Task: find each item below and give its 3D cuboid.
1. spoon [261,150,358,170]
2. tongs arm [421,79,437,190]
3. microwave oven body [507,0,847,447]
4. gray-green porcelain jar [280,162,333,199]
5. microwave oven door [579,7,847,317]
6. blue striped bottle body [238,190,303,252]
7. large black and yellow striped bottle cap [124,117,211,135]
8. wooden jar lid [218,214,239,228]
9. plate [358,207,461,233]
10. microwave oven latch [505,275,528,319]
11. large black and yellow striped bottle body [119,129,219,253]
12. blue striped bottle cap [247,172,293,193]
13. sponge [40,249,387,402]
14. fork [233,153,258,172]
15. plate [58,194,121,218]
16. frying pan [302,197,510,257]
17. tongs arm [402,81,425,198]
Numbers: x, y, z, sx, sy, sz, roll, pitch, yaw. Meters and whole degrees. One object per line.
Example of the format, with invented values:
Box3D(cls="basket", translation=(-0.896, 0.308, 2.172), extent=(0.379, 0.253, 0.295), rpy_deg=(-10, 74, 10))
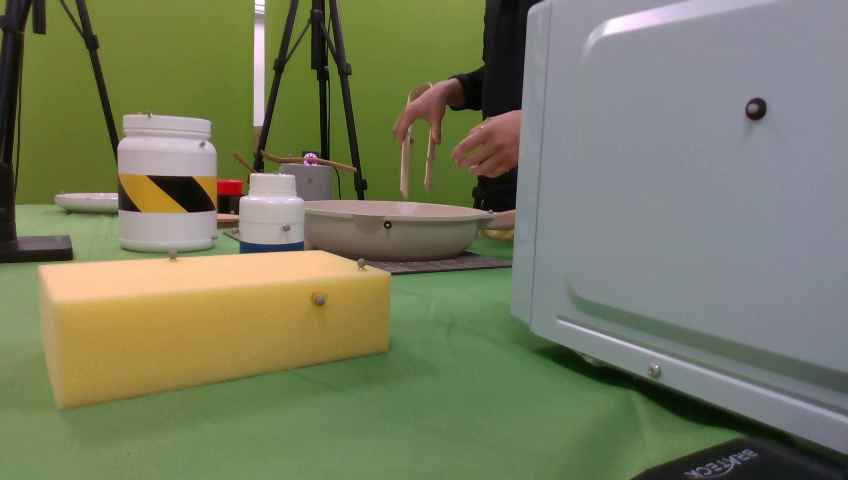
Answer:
Box3D(cls="spoon", translation=(-0.229, -0.161, 1.222), extent=(0.194, 0.021, 0.041), rpy_deg=(4, 4, -16))
Box3D(cls="tongs arm", translation=(0.004, -0.235, 1.285), extent=(0.050, 0.026, 0.384), rpy_deg=(-18, 41, 23))
Box3D(cls="microwave oven body", translation=(0.331, -0.042, 0.425), extent=(0.444, 0.260, 0.324), rpy_deg=(-2, 8, -31))
Box3D(cls="gray-green porcelain jar", translation=(-0.238, -0.092, 1.221), extent=(0.106, 0.126, 0.106), rpy_deg=(2, 7, 0))
Box3D(cls="microwave oven door", translation=(0.294, -0.067, 0.570), extent=(0.358, 0.243, 0.039), rpy_deg=(-3, 9, -31))
Box3D(cls="blue striped bottle body", translation=(-0.153, -0.007, 0.606), extent=(0.063, 0.120, 0.063), rpy_deg=(2, 8, 0))
Box3D(cls="large black and yellow striped bottle cap", translation=(-0.366, -0.163, 0.866), extent=(0.115, 0.019, 0.115), rpy_deg=(3, 7, 0))
Box3D(cls="wooden jar lid", translation=(-0.404, -0.037, 1.169), extent=(0.108, 0.020, 0.108), rpy_deg=(3, 7, 0))
Box3D(cls="plate", translation=(-0.030, -0.041, 1.213), extent=(0.208, 0.039, 0.207), rpy_deg=(3, 6, 0))
Box3D(cls="microwave oven latch", translation=(0.100, 0.041, 0.471), extent=(0.079, 0.029, 0.030), rpy_deg=(-1, 7, -28))
Box3D(cls="large black and yellow striped bottle body", translation=(-0.367, -0.080, 0.876), extent=(0.131, 0.184, 0.130), rpy_deg=(1, 7, 0))
Box3D(cls="blue striped bottle cap", translation=(-0.152, -0.057, 0.598), extent=(0.044, 0.020, 0.044), rpy_deg=(3, 7, 0))
Box3D(cls="sponge", translation=(-0.142, 0.047, 0.420), extent=(0.208, 0.061, 0.117), rpy_deg=(-3, 8, -36))
Box3D(cls="fork", translation=(-0.396, -0.143, 1.486), extent=(0.028, 0.018, 0.208), rpy_deg=(21, -25, 45))
Box3D(cls="plate", translation=(-0.671, -0.074, 1.310), extent=(0.209, 0.038, 0.209), rpy_deg=(2, 8, 0))
Box3D(cls="frying pan", translation=(0.050, -0.035, 0.915), extent=(0.487, 0.102, 0.307), rpy_deg=(-5, 7, 10))
Box3D(cls="tongs arm", translation=(-0.023, -0.225, 1.296), extent=(0.028, 0.028, 0.386), rpy_deg=(-22, 40, 24))
